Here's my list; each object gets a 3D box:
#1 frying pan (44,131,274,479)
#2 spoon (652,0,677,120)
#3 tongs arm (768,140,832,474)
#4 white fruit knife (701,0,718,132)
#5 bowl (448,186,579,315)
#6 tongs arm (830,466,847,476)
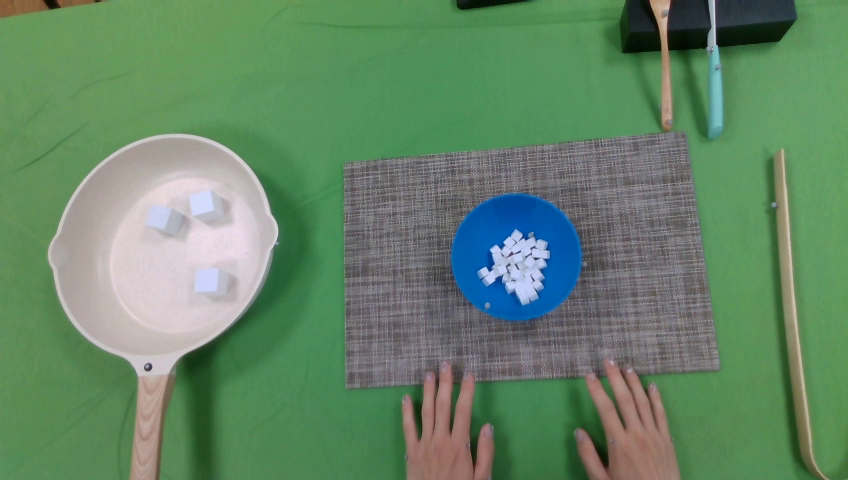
[{"bbox_3d":[-0.330,0.101,0.756,0.306,0.103,0.484,-5,69,7],"label":"frying pan"},{"bbox_3d":[0.298,-0.250,0.761,0.041,0.022,0.194,7,100,31],"label":"spoon"},{"bbox_3d":[0.432,0.068,0.708,0.028,0.028,0.385,-1,78,5],"label":"tongs arm"},{"bbox_3d":[0.354,-0.241,0.758,0.016,0.027,0.207,-3,92,2],"label":"white fruit knife"},{"bbox_3d":[0.106,0.019,0.729,0.151,0.077,0.150,-1,77,7],"label":"bowl"},{"bbox_3d":[0.511,0.077,0.692,0.050,0.027,0.383,12,80,11],"label":"tongs arm"}]
